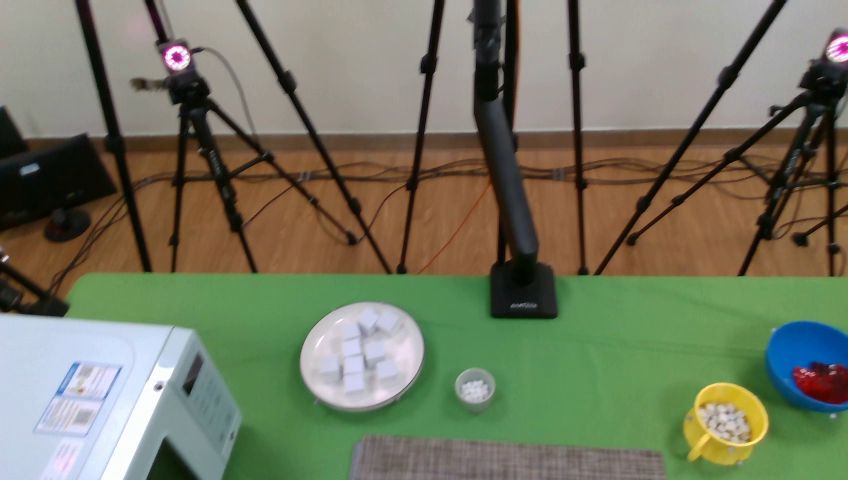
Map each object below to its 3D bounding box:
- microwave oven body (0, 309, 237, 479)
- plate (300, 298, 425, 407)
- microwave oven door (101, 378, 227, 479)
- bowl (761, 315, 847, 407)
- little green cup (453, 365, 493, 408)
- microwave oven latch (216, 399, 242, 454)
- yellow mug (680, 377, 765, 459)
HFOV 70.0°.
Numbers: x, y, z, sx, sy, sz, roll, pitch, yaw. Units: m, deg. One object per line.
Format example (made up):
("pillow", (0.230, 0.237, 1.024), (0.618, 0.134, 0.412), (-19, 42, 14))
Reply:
("microwave oven body", (-0.475, 0.339, 0.749), (0.326, 0.262, 0.437), (3, 49, 6))
("plate", (-0.102, 0.190, 1.017), (0.207, 0.039, 0.205), (-2, 47, 3))
("microwave oven door", (-0.335, 0.373, 0.701), (0.039, 0.246, 0.352), (3, 48, 7))
("bowl", (0.591, 0.199, 0.934), (0.151, 0.077, 0.150), (-2, 48, 3))
("little green cup", (0.078, 0.235, 0.963), (0.061, 0.039, 0.061), (-2, 47, 3))
("microwave oven latch", (-0.302, 0.282, 0.921), (0.030, 0.030, 0.078), (4, 49, 7))
("yellow mug", (0.426, 0.270, 0.888), (0.131, 0.064, 0.099), (-33, 54, -22))
